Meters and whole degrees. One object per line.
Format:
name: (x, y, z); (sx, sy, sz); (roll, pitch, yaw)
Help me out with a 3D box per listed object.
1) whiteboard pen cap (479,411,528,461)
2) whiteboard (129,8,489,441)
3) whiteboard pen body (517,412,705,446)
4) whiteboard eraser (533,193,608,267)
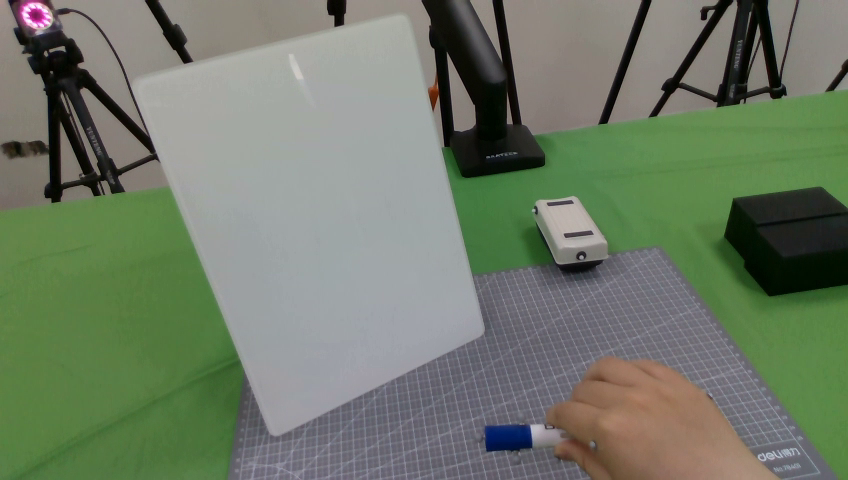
whiteboard pen cap: (0.053, 0.132, 0.408); (0.033, 0.018, 0.018); (-44, 46, -10)
whiteboard: (-0.097, -0.022, 0.554); (0.217, 0.307, 0.142); (-22, 20, -20)
whiteboard pen body: (0.116, 0.128, 0.408); (0.141, 0.017, 0.017); (-5, 36, 4)
whiteboard eraser: (0.161, -0.012, 0.677); (0.055, 0.042, 0.111); (-9, 32, -1)
